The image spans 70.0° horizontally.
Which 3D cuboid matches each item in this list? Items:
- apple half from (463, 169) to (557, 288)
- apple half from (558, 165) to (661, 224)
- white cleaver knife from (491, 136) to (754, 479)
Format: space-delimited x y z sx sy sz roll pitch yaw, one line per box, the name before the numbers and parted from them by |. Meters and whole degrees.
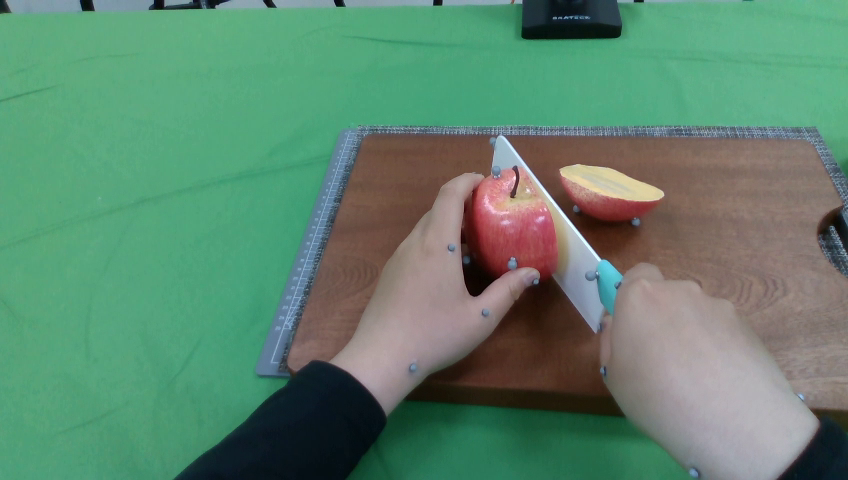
apple half | 0.054 -0.004 0.423 0.053 0.075 0.080 -16 50 -5
apple half | 0.135 -0.030 0.464 0.081 0.033 0.080 10 26 -4
white cleaver knife | 0.108 0.027 0.394 0.021 0.066 0.283 -18 47 -10
